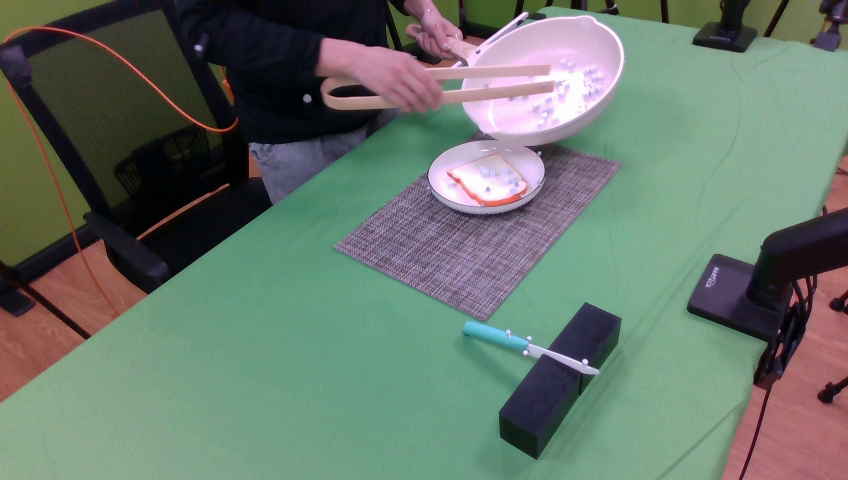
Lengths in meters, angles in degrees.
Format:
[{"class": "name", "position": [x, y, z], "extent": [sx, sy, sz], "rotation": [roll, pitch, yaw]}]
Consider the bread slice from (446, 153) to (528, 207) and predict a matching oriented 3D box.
[{"class": "bread slice", "position": [0.117, -0.104, 1.057], "extent": [0.107, 0.018, 0.133], "rotation": [-24, 41, -17]}]

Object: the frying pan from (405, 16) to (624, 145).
[{"class": "frying pan", "position": [0.141, -0.334, 1.150], "extent": [0.484, 0.103, 0.307], "rotation": [35, 75, 30]}]

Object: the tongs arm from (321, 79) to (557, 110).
[{"class": "tongs arm", "position": [0.025, -0.250, 1.001], "extent": [0.385, 0.026, 0.050], "rotation": [-8, 56, -5]}]

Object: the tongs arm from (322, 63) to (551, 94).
[{"class": "tongs arm", "position": [0.023, -0.272, 1.018], "extent": [0.388, 0.028, 0.028], "rotation": [-5, 59, -3]}]

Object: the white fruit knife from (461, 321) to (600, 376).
[{"class": "white fruit knife", "position": [0.126, 0.133, 0.752], "extent": [0.205, 0.027, 0.016], "rotation": [12, 45, 42]}]

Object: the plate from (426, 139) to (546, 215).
[{"class": "plate", "position": [0.109, -0.107, 1.058], "extent": [0.207, 0.039, 0.206], "rotation": [-4, 41, 4]}]
